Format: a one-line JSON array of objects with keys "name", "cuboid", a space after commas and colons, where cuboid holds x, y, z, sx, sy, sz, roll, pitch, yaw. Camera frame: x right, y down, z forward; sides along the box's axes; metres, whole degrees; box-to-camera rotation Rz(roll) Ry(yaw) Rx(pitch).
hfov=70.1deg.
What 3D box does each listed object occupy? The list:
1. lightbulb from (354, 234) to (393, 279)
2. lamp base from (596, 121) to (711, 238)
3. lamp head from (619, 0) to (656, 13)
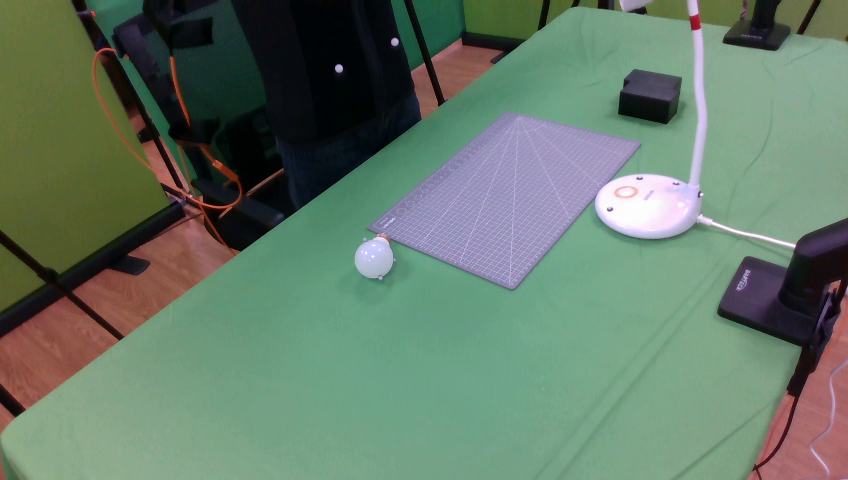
[{"name": "lightbulb", "cuboid": [-0.075, 0.020, 0.952, 0.059, 0.060, 0.107, -2, 25, 9]}, {"name": "lamp base", "cuboid": [0.363, -0.113, 0.925, 0.178, 0.181, 0.161, 17, 47, 24]}, {"name": "lamp head", "cuboid": [0.282, -0.338, 0.715, 0.122, 0.113, 0.112, -9, 40, 15]}]
